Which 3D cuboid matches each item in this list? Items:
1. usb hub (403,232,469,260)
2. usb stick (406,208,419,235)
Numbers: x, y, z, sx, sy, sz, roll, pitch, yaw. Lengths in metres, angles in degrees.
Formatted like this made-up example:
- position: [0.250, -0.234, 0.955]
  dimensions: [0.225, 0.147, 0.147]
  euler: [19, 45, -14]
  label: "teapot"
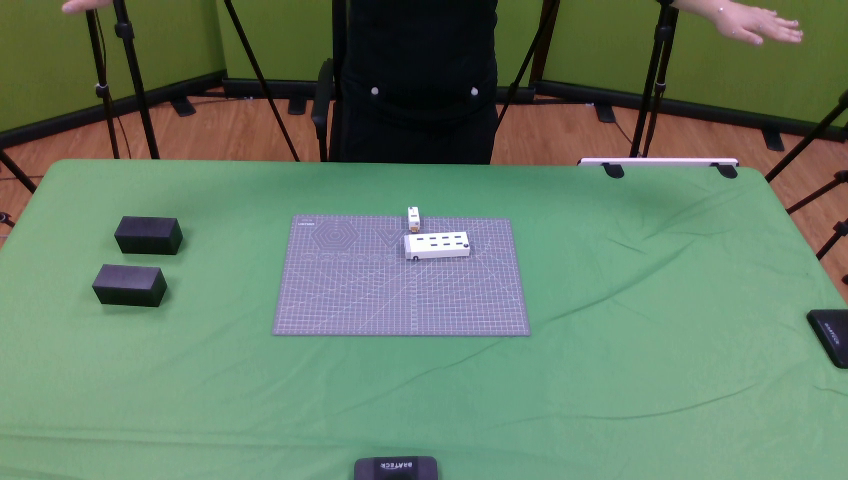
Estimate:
- position: [0.023, 0.012, 1.182]
  dimensions: [0.125, 0.025, 0.049]
  euler: [-3, 47, -7]
  label: "usb hub"
- position: [-0.023, -0.037, 1.225]
  dimensions: [0.021, 0.027, 0.059]
  euler: [0, 49, -9]
  label: "usb stick"
